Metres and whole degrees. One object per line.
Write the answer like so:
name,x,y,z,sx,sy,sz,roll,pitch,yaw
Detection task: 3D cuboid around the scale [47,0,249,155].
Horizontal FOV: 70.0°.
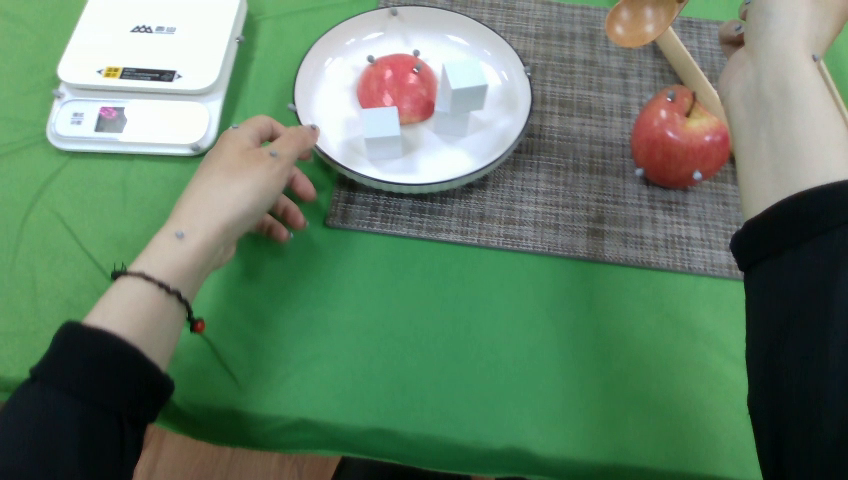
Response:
scale,-0.251,-0.168,0.562,0.149,0.032,0.199,3,61,0

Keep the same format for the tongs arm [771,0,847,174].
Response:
tongs arm,0.355,-0.131,0.559,0.051,0.027,0.381,-2,62,-4

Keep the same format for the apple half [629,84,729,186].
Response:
apple half,0.201,-0.080,0.502,0.053,0.075,0.080,-27,69,-11

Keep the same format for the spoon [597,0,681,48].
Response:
spoon,0.215,-0.203,0.435,0.193,0.022,0.041,-31,78,24

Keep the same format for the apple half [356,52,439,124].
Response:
apple half,-0.022,-0.143,0.543,0.081,0.033,0.080,0,58,0

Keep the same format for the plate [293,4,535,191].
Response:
plate,-0.009,-0.125,0.539,0.209,0.038,0.207,1,61,-2

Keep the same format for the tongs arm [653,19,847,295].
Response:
tongs arm,0.273,-0.120,0.552,0.028,0.028,0.384,-13,63,-14
